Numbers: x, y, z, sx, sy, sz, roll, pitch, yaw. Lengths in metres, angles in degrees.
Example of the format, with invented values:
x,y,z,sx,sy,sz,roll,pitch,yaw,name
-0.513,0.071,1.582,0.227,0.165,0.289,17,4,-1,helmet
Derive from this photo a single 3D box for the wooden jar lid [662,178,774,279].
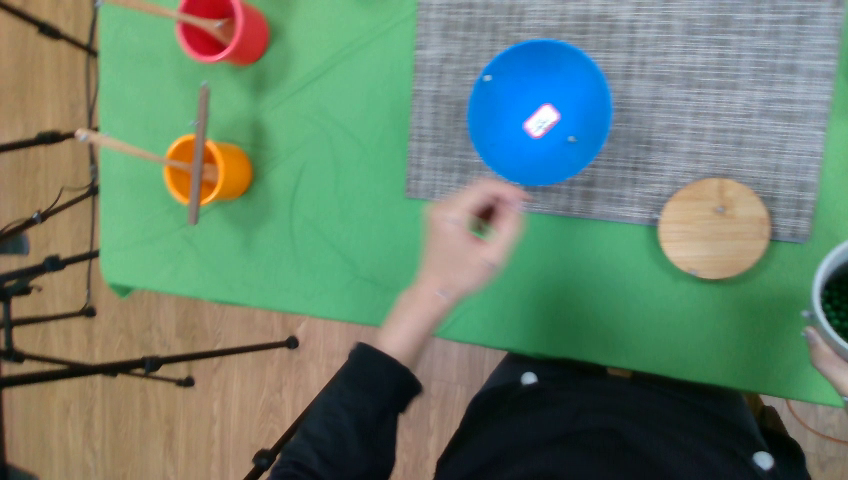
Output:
x,y,z,sx,sy,sz,roll,pitch,yaw,name
0.312,-0.012,0.648,0.108,0.021,0.109,4,103,19,wooden jar lid

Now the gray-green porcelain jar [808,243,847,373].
x,y,z,sx,sy,sz,roll,pitch,yaw,name
0.383,0.061,0.504,0.105,0.128,0.105,-10,68,26,gray-green porcelain jar

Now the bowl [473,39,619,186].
x,y,z,sx,sy,sz,roll,pitch,yaw,name
0.135,-0.134,0.662,0.151,0.077,0.151,2,97,18,bowl

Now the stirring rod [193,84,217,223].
x,y,z,sx,sy,sz,roll,pitch,yaw,name
-0.277,-0.107,0.765,0.014,0.006,0.176,12,100,14,stirring rod

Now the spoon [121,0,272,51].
x,y,z,sx,sy,sz,roll,pitch,yaw,name
-0.288,-0.280,0.754,0.195,0.021,0.042,10,101,-27,spoon

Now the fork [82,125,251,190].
x,y,z,sx,sy,sz,roll,pitch,yaw,name
-0.327,-0.106,0.783,0.209,0.018,0.028,17,115,-29,fork
